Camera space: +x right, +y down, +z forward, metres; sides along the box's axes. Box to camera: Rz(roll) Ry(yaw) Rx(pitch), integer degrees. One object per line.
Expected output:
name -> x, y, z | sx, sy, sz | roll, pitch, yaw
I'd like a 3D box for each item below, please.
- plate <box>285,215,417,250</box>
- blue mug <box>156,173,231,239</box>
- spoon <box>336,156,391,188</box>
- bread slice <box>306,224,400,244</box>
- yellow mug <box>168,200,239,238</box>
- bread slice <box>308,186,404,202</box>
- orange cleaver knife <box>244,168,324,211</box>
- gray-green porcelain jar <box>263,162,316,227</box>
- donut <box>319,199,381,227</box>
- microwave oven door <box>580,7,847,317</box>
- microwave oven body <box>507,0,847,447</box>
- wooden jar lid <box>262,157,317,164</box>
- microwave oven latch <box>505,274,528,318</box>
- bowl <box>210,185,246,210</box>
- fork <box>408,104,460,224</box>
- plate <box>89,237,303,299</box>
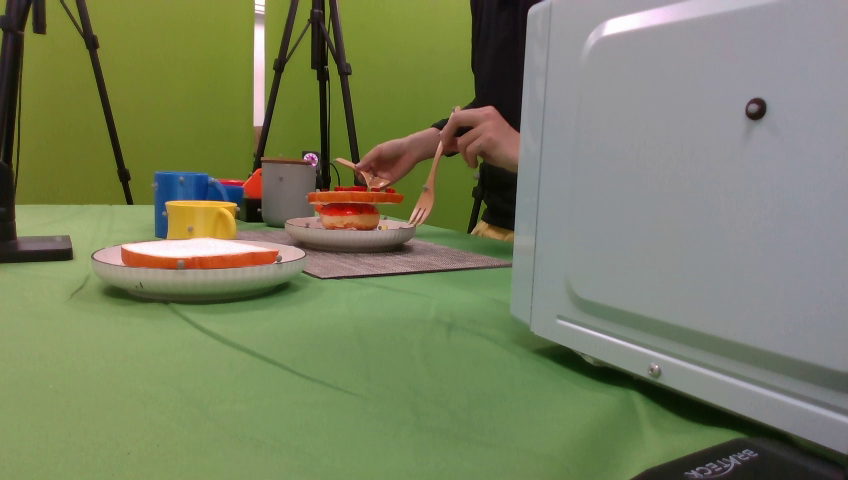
plate -> -0.116, -0.014, 0.964 | 0.209, 0.038, 0.209 | 2, 7, 0
blue mug -> -0.381, -0.057, 1.004 | 0.117, 0.106, 0.082 | 0, 8, -12
spoon -> -0.126, -0.140, 1.213 | 0.042, 0.022, 0.192 | -33, 43, -21
bread slice -> -0.103, -0.010, 0.961 | 0.131, 0.019, 0.105 | 3, 9, 24
yellow mug -> -0.320, -0.023, 0.904 | 0.130, 0.064, 0.100 | 9, 11, 36
bread slice -> -0.114, -0.071, 0.952 | 0.134, 0.018, 0.107 | -1, 1, 21
orange cleaver knife -> -0.300, -0.089, 1.351 | 0.212, 0.077, 0.012 | 28, -9, -34
gray-green porcelain jar -> -0.271, -0.092, 1.218 | 0.106, 0.126, 0.106 | 2, 7, 0
donut -> -0.117, -0.042, 0.965 | 0.099, 0.048, 0.099 | -9, -7, -1
microwave oven door -> 0.295, -0.067, 0.570 | 0.358, 0.243, 0.039 | -3, 9, -31
microwave oven body -> 0.331, -0.042, 0.425 | 0.444, 0.260, 0.324 | -2, 8, -31
wooden jar lid -> -0.269, -0.154, 1.208 | 0.108, 0.020, 0.108 | 3, 4, 0
microwave oven latch -> 0.100, 0.041, 0.471 | 0.079, 0.029, 0.030 | -1, 7, -28
bowl -> -0.422, -0.067, 1.167 | 0.151, 0.077, 0.151 | 2, 7, 0
fork -> 0.018, -0.115, 0.887 | 0.028, 0.207, 0.019 | 7, -20, 34
plate -> -0.233, 0.029, 0.637 | 0.208, 0.039, 0.207 | 2, 7, 0
